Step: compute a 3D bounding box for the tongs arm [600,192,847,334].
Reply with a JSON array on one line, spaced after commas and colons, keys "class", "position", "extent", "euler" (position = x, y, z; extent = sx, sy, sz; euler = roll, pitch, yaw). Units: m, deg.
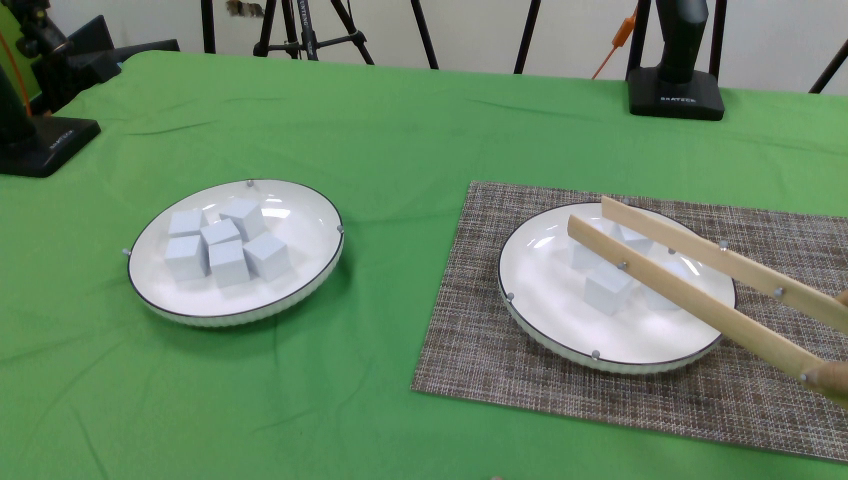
[{"class": "tongs arm", "position": [0.267, 0.054, 0.424], "extent": [0.051, 0.027, 0.380], "euler": [-30, 43, -27]}]

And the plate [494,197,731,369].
[{"class": "plate", "position": [0.168, 0.038, 0.561], "extent": [0.207, 0.039, 0.205], "euler": [-1, 42, 2]}]

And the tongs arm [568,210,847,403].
[{"class": "tongs arm", "position": [0.245, 0.065, 0.413], "extent": [0.028, 0.028, 0.383], "euler": [-25, 40, -27]}]

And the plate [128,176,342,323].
[{"class": "plate", "position": [-0.185, 0.009, 0.615], "extent": [0.209, 0.038, 0.207], "euler": [-1, 41, 1]}]
